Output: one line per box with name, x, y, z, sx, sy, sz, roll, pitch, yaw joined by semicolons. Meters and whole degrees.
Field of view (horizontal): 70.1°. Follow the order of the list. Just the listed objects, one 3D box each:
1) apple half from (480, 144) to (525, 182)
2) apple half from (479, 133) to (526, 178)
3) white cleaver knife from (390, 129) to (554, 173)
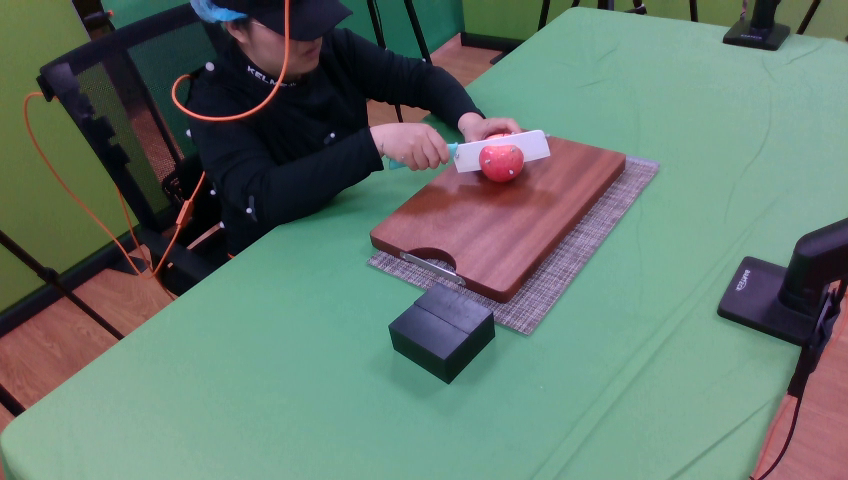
apple half;0.133;-0.125;1.024;0.081;0.081;0.032;-1;42;11
apple half;0.139;-0.151;1.055;0.080;0.075;0.053;-2;35;13
white cleaver knife;0.075;-0.142;1.036;0.285;0.066;0.021;-6;37;17
